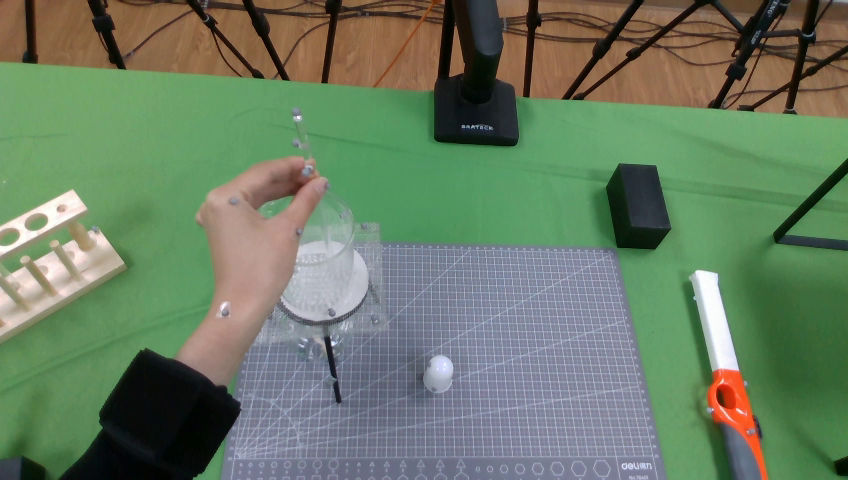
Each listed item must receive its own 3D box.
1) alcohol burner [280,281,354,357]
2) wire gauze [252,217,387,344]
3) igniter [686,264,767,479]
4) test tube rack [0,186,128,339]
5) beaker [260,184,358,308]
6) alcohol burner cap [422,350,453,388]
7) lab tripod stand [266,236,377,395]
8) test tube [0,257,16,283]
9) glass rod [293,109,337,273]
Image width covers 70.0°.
[{"bbox_3d":[-0.112,0.075,0.630,0.078,0.120,0.077,4,57,-5],"label":"alcohol burner"},{"bbox_3d":[-0.099,0.032,0.569,0.121,0.011,0.124,-4,63,-6],"label":"wire gauze"},{"bbox_3d":[0.338,0.151,0.683,0.057,0.025,0.274,10,58,-12],"label":"igniter"},{"bbox_3d":[-0.452,0.049,0.632,0.242,0.086,0.066,-36,68,-24],"label":"test tube rack"},{"bbox_3d":[-0.099,0.009,0.526,0.084,0.101,0.073,24,59,8],"label":"beaker"},{"bbox_3d":[0.016,0.136,0.648,0.034,0.048,0.033,2,59,-3],"label":"alcohol burner cap"},{"bbox_3d":[-0.101,0.071,0.622,0.148,0.132,0.147,3,59,-5],"label":"lab tripod stand"},{"bbox_3d":[-0.446,0.001,0.604,0.017,0.151,0.017,3,53,-4],"label":"test tube"},{"bbox_3d":[-0.086,-0.028,0.487,0.008,0.201,0.008,0,55,0],"label":"glass rod"}]
